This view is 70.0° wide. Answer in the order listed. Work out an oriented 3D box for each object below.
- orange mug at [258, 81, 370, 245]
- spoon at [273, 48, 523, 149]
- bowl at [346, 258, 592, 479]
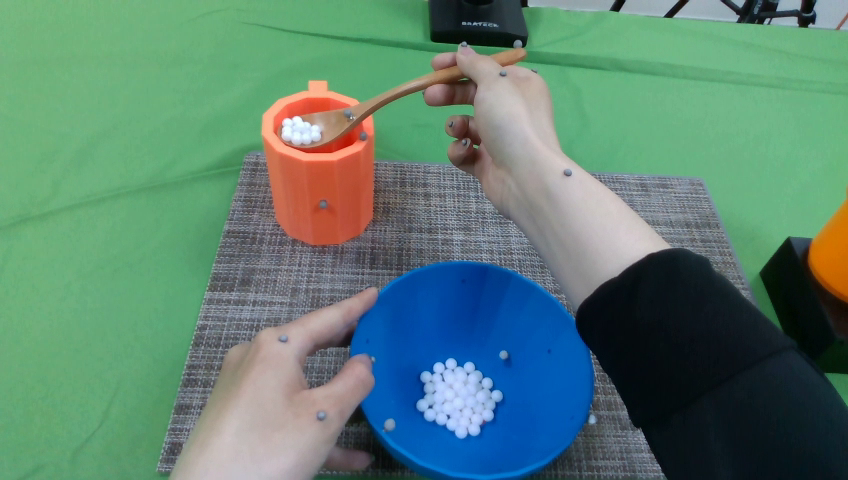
[{"bbox_3d":[-0.091,-0.073,0.513,0.083,0.101,0.125,-4,55,-10],"label":"orange mug"},{"bbox_3d":[-0.020,-0.107,0.449,0.193,0.022,0.041,-19,48,9],"label":"spoon"},{"bbox_3d":[0.025,0.094,0.397,0.151,0.077,0.150,4,49,-4],"label":"bowl"}]
